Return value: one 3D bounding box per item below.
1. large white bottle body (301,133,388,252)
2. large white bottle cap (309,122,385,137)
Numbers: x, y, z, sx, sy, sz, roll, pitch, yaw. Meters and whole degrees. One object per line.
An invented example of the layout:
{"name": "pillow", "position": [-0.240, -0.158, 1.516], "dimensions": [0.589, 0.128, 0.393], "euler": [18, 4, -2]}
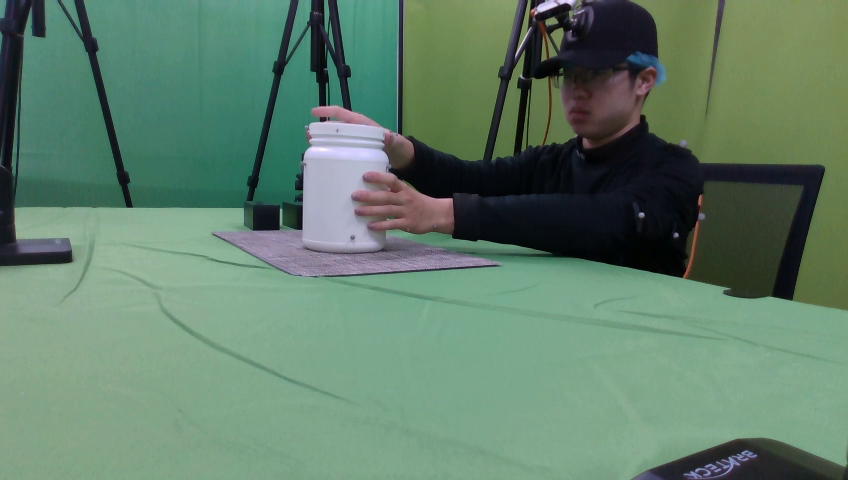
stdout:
{"name": "large white bottle body", "position": [-0.122, -0.080, 0.937], "dimensions": [0.131, 0.184, 0.130], "euler": [2, 7, 0]}
{"name": "large white bottle cap", "position": [-0.118, -0.167, 0.926], "dimensions": [0.115, 0.018, 0.115], "euler": [3, 6, 0]}
